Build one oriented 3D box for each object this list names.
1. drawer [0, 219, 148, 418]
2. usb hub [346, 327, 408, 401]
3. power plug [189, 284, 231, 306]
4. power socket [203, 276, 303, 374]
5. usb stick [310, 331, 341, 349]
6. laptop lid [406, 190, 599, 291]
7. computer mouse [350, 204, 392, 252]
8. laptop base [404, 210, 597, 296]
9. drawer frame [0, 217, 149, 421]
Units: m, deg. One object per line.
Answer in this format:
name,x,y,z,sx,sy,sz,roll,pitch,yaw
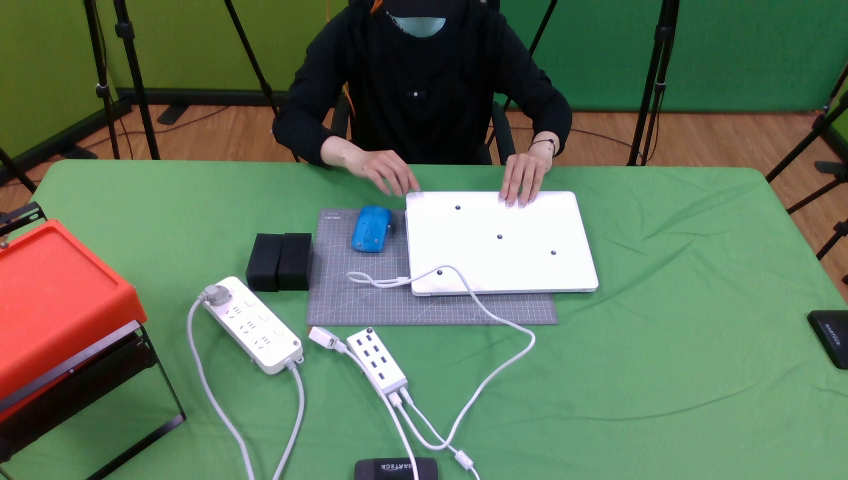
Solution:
drawer,-0.509,0.093,0.783,0.193,0.073,0.211,32,53,24
usb hub,-0.078,0.202,0.998,0.049,0.025,0.124,-23,53,-24
power plug,-0.368,0.100,1.037,0.072,0.053,0.035,-23,53,-26
power socket,-0.296,0.141,1.034,0.072,0.033,0.225,-34,58,-30
usb stick,-0.171,0.167,1.020,0.059,0.027,0.021,8,89,26
laptop lid,0.145,-0.005,1.170,0.357,0.013,0.240,0,55,-5
computer mouse,-0.104,-0.027,1.202,0.063,0.041,0.116,11,51,4
laptop base,0.143,0.018,1.196,0.355,0.023,0.234,-1,43,-6
drawer frame,-0.510,0.093,0.780,0.201,0.083,0.213,31,52,23
